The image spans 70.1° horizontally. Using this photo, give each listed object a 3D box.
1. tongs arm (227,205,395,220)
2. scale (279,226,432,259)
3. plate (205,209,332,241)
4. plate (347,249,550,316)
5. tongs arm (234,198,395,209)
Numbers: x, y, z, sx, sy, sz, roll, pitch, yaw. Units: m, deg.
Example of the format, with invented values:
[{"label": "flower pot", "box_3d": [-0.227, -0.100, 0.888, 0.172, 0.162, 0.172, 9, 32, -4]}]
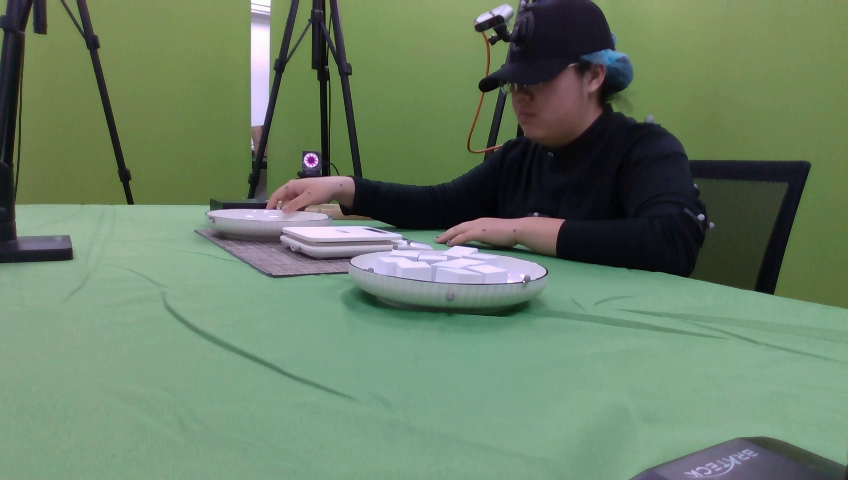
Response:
[{"label": "tongs arm", "box_3d": [-0.247, -0.062, 1.381, 0.389, 0.028, 0.028, 0, 5, -21]}, {"label": "scale", "box_3d": [-0.100, 0.001, 0.899, 0.202, 0.031, 0.148, -1, 9, -31]}, {"label": "plate", "box_3d": [-0.262, -0.026, 1.030, 0.208, 0.039, 0.207, 3, 7, 0]}, {"label": "plate", "box_3d": [0.025, 0.042, 0.627, 0.209, 0.038, 0.209, 2, 7, 0]}, {"label": "tongs arm", "box_3d": [-0.263, -0.076, 1.460, 0.386, 0.026, 0.050, 3, 7, -8]}]
